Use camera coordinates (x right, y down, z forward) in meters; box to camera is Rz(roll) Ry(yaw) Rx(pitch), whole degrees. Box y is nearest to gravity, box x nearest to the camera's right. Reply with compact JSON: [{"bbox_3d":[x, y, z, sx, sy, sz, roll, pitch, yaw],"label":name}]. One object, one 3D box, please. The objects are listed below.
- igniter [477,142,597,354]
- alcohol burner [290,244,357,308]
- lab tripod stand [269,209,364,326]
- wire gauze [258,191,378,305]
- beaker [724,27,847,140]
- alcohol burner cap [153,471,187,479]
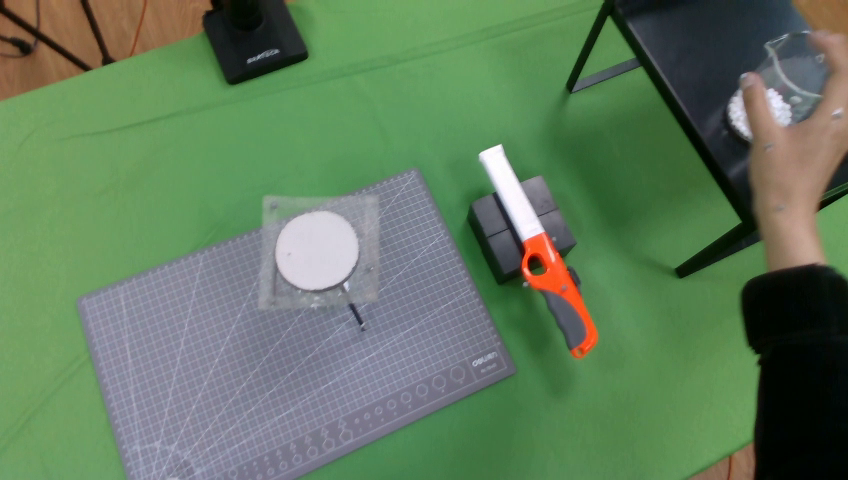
[{"bbox_3d":[0.133,0.004,0.723,0.057,0.025,0.274,-23,74,-5],"label":"igniter"},{"bbox_3d":[-0.118,0.038,0.698,0.078,0.119,0.077,1,73,-3],"label":"alcohol burner"},{"bbox_3d":[-0.116,0.025,0.691,0.148,0.132,0.147,1,69,-2],"label":"lab tripod stand"},{"bbox_3d":[-0.108,0.005,0.628,0.121,0.011,0.124,-1,71,-4],"label":"wire gauze"},{"bbox_3d":[0.356,-0.153,0.610,0.084,0.101,0.074,32,72,8],"label":"beaker"},{"bbox_3d":[-0.278,0.266,0.650,0.034,0.048,0.033,1,71,-4],"label":"alcohol burner cap"}]
